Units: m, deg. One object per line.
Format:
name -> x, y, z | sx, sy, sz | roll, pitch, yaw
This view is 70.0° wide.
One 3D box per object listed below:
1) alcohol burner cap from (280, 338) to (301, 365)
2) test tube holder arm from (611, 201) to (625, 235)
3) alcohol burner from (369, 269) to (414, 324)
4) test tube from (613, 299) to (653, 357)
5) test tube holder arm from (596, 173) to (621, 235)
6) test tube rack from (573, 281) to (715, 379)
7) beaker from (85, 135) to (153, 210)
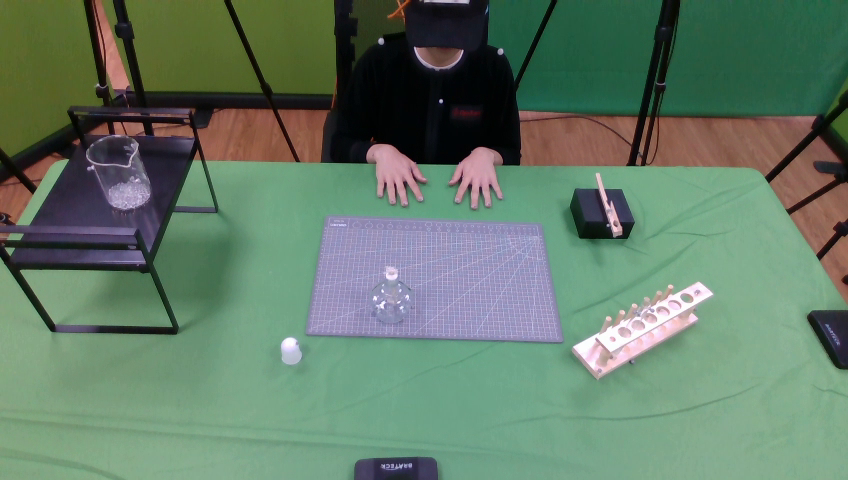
alcohol burner cap -> -0.220, 0.179, 0.993 | 0.034, 0.048, 0.033 | 3, 46, -2
test tube holder arm -> 0.380, -0.045, 1.196 | 0.010, 0.015, 0.087 | -6, 45, 2
alcohol burner -> -0.056, 0.089, 1.037 | 0.078, 0.120, 0.077 | 1, 47, -1
test tube -> 0.329, 0.143, 0.963 | 0.017, 0.151, 0.017 | 4, 48, -4
test tube holder arm -> 0.373, -0.076, 1.229 | 0.013, 0.015, 0.177 | -6, 45, 2
test tube rack -> 0.378, 0.140, 1.038 | 0.242, 0.085, 0.066 | -22, 51, -23
beaker -> -0.475, -0.102, 0.957 | 0.083, 0.101, 0.074 | 34, 53, 26
